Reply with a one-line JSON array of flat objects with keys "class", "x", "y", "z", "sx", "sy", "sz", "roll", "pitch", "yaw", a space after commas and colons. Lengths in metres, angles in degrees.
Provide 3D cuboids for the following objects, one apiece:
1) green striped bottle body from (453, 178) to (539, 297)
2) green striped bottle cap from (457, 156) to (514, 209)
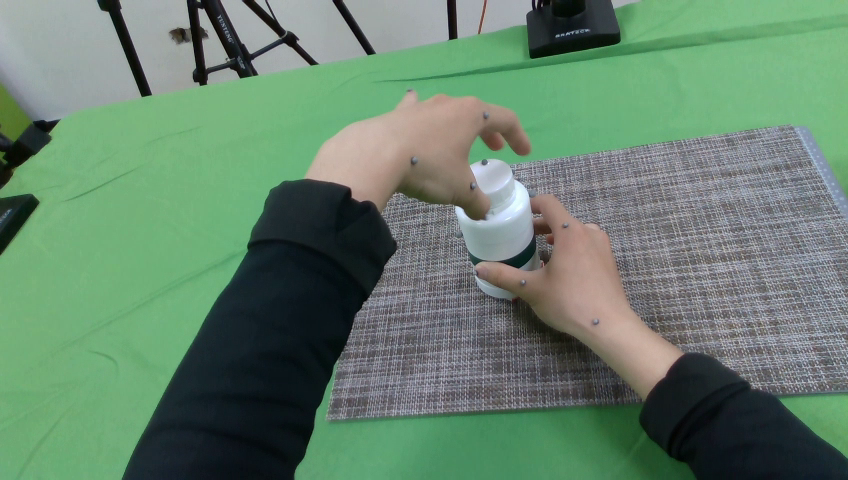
[{"class": "green striped bottle body", "x": 0.063, "y": -0.010, "z": 0.527, "sx": 0.063, "sy": 0.120, "sz": 0.062, "roll": -10, "pitch": 45, "yaw": 10}, {"class": "green striped bottle cap", "x": 0.050, "y": -0.046, "z": 0.490, "sx": 0.044, "sy": 0.020, "sz": 0.044, "roll": -9, "pitch": 50, "yaw": 11}]
